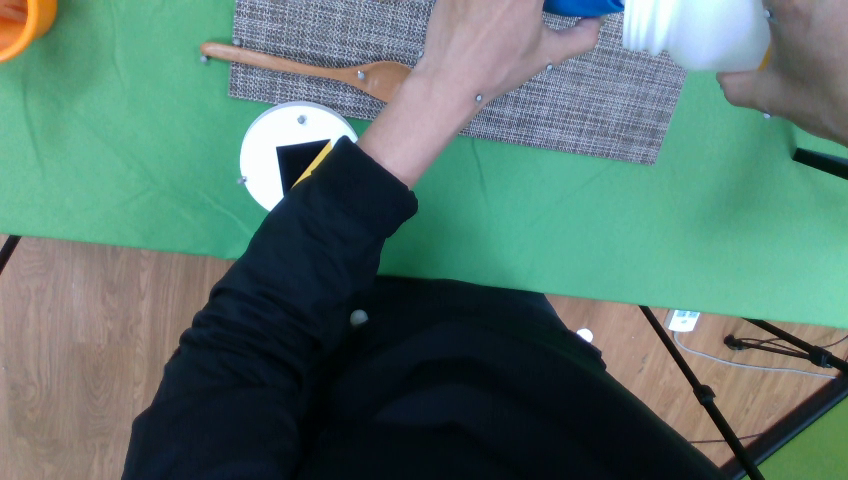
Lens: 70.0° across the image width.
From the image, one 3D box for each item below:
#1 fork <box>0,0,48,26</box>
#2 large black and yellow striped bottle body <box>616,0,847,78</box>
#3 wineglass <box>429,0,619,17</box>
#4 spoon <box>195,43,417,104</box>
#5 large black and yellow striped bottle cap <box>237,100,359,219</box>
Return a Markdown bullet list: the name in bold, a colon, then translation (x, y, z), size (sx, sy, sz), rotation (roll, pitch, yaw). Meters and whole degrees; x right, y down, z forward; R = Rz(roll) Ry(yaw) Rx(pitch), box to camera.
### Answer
- **fork**: translation (-0.356, -0.178, 0.394), size (0.028, 0.018, 0.208), rotation (-57, 157, 19)
- **large black and yellow striped bottle body**: translation (0.209, -0.160, 0.340), size (0.183, 0.130, 0.131), rotation (8, 116, 17)
- **wineglass**: translation (0.076, -0.207, 0.459), size (0.074, 0.170, 0.074), rotation (-18, 117, -37)
- **spoon**: translation (-0.101, -0.152, 0.539), size (0.194, 0.021, 0.042), rotation (5, 134, -17)
- **large black and yellow striped bottle cap**: translation (-0.119, -0.074, 0.578), size (0.115, 0.018, 0.116), rotation (-6, 119, -11)
